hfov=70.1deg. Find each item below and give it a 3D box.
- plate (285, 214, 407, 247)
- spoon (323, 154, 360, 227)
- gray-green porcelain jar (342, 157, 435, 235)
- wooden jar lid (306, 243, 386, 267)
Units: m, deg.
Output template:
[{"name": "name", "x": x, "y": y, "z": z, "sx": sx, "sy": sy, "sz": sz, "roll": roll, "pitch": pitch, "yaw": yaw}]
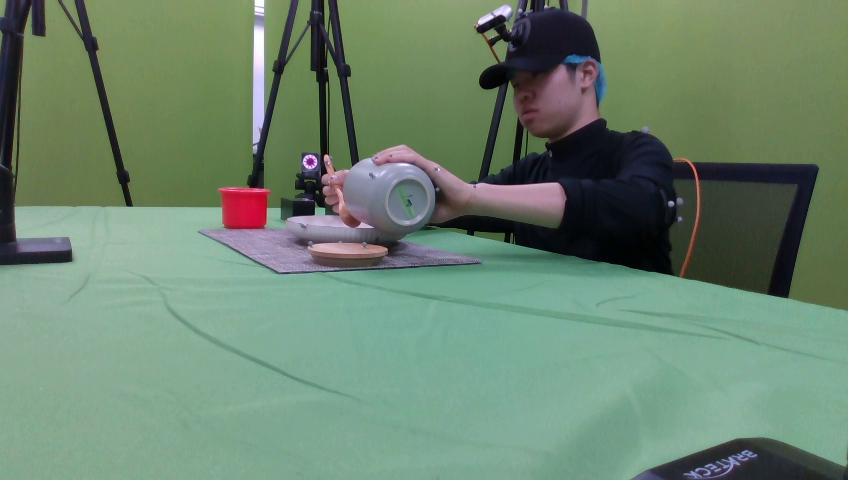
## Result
[{"name": "plate", "x": -0.127, "y": -0.015, "z": 1.012, "sx": 0.208, "sy": 0.039, "sz": 0.207, "roll": 3, "pitch": 7, "yaw": 0}, {"name": "spoon", "x": -0.148, "y": -0.089, "z": 1.033, "sx": 0.042, "sy": 0.021, "sz": 0.193, "roll": 3, "pitch": 37, "yaw": -30}, {"name": "gray-green porcelain jar", "x": -0.052, "y": -0.066, "z": 0.894, "sx": 0.106, "sy": 0.106, "sz": 0.126, "roll": -1, "pitch": 11, "yaw": -28}, {"name": "wooden jar lid", "x": -0.105, "y": 0.020, "z": 0.816, "sx": 0.108, "sy": 0.020, "sz": 0.108, "roll": 1, "pitch": 7, "yaw": 0}]
